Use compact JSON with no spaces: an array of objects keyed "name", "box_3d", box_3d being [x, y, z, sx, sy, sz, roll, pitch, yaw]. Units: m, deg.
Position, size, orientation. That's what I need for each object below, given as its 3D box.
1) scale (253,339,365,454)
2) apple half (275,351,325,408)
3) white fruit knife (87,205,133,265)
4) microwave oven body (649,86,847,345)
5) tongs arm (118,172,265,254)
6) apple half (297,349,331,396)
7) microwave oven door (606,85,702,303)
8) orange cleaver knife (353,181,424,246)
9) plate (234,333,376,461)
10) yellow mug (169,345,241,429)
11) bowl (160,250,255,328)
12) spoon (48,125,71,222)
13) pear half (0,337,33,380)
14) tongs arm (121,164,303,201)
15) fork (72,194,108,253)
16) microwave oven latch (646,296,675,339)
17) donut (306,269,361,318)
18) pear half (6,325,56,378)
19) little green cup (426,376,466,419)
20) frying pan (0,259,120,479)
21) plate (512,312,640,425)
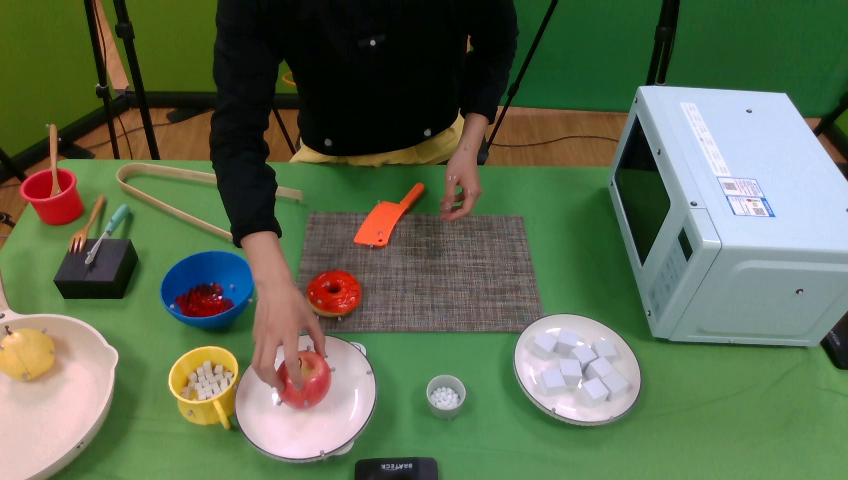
[{"name":"scale","box_3d":[-0.175,0.236,0.951,0.149,0.032,0.199,4,46,0]},{"name":"apple half","box_3d":[-0.187,0.209,0.877,0.053,0.075,0.080,-28,58,-32]},{"name":"white fruit knife","box_3d":[-0.584,-0.013,1.129,0.016,0.027,0.206,0,31,-5]},{"name":"microwave oven body","box_3d":[0.567,-0.053,1.118,0.326,0.261,0.439,2,45,-1]},{"name":"tongs arm","box_3d":[-0.473,-0.054,1.211,0.386,0.028,0.028,23,56,18]},{"name":"apple half","box_3d":[-0.158,0.194,0.899,0.033,0.081,0.081,-29,54,-32]},{"name":"microwave oven door","box_3d":[0.423,-0.094,1.140,0.039,0.245,0.353,2,46,-1]},{"name":"orange cleaver knife","box_3d":[-0.070,-0.059,1.245,0.077,0.012,0.210,18,49,21]},{"name":"plate","box_3d":[-0.174,0.235,0.907,0.209,0.038,0.208,2,46,-2]},{"name":"yellow mug","box_3d":[-0.322,0.230,0.922,0.100,0.064,0.130,-24,53,-25]},{"name":"bowl","box_3d":[-0.362,0.098,1.039,0.151,0.077,0.150,2,45,-2]},{"name":"spoon","box_3d":[-0.718,-0.132,1.188,0.042,0.021,0.193,-3,90,-7]},{"name":"pear half","box_3d":[-0.631,0.184,0.921,0.070,0.088,0.031,29,49,19]},{"name":"tongs arm","box_3d":[-0.444,-0.114,1.267,0.384,0.026,0.050,12,50,8]},{"name":"fork","box_3d":[-0.634,-0.036,1.158,0.028,0.019,0.206,-8,32,-9]},{"name":"microwave oven latch","box_3d":[0.412,0.134,1.061,0.030,0.029,0.078,4,45,1]},{"name":"donut","box_3d":[-0.160,0.094,1.074,0.099,0.048,0.098,3,46,-3]},{"name":"pear half","box_3d":[-0.608,0.158,0.935,0.076,0.110,0.056,31,51,20]},{"name":"little green cup","box_3d":[0.033,0.248,0.950,0.061,0.039,0.061,2,46,-2]},{"name":"frying pan","box_3d":[-0.647,0.164,0.936,0.307,0.103,0.485,-19,58,-22]},{"name":"plate","box_3d":[0.246,0.213,0.999,0.208,0.039,0.206,2,46,-2]}]
